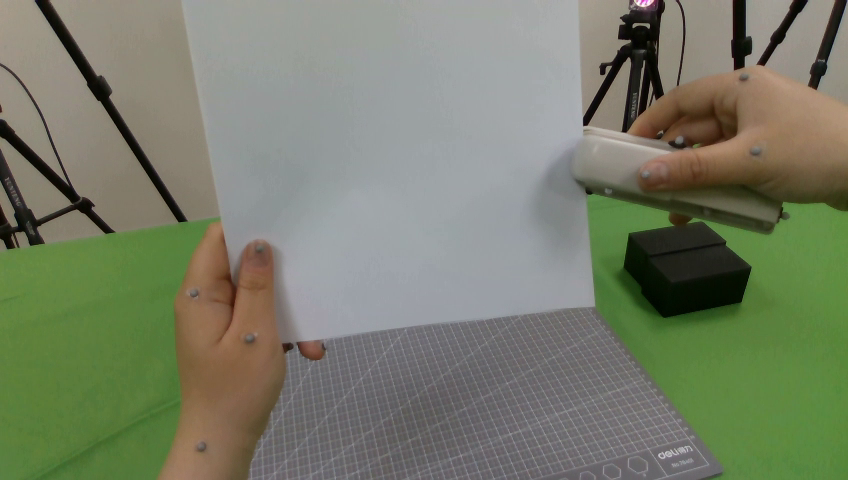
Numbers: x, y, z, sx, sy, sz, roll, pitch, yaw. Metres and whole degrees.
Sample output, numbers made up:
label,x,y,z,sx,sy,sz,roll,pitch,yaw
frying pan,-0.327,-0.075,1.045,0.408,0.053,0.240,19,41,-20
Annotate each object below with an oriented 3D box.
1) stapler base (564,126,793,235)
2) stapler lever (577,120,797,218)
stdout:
label,x,y,z,sx,sy,sz,roll,pitch,yaw
stapler base,0.151,-0.039,0.363,0.130,0.041,0.024,17,4,15
stapler lever,0.145,-0.041,0.339,0.117,0.027,0.040,17,4,15
